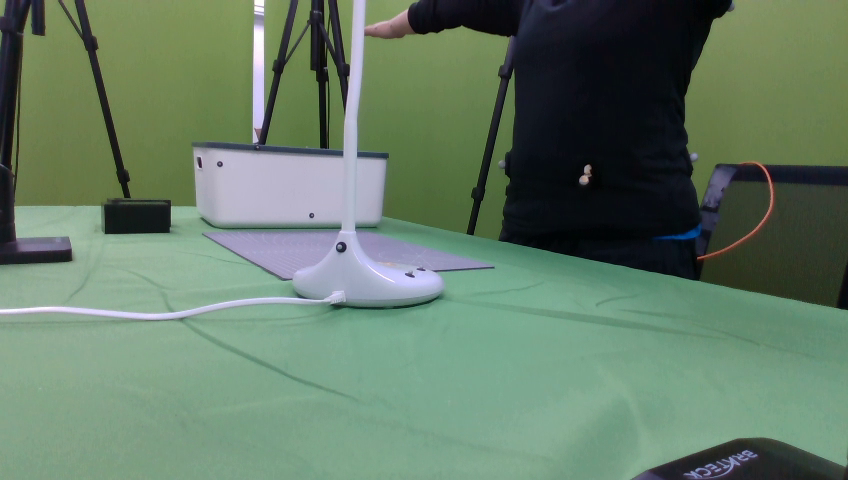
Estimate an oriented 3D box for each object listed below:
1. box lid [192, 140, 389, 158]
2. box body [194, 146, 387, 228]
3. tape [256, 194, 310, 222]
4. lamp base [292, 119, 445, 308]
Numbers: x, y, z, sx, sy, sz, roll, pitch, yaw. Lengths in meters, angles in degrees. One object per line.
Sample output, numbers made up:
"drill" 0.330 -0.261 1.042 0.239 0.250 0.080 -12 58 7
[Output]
"box lid" -0.287 -0.191 1.281 0.373 0.015 0.262 0 8 -28
"box body" -0.288 -0.118 1.291 0.366 0.160 0.253 -1 8 -28
"tape" -0.301 -0.069 1.294 0.117 0.052 0.117 3 7 0
"lamp base" -0.056 -0.030 0.616 0.160 0.180 0.179 4 10 8
